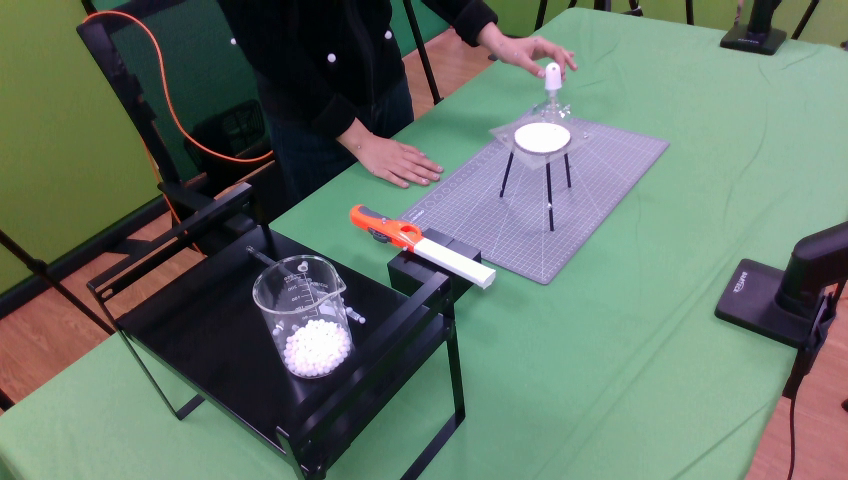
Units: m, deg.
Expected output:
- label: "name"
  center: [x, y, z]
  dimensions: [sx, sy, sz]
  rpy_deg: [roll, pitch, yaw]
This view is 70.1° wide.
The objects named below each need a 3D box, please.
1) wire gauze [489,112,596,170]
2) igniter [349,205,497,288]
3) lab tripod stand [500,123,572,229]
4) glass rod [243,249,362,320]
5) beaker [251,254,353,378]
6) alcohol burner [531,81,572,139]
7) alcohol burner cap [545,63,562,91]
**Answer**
- label: "wire gauze"
  center: [0.183, -0.161, 0.942]
  dimensions: [0.122, 0.011, 0.124]
  rpy_deg: [-24, 44, -18]
- label: "igniter"
  center: [-0.013, 0.004, 0.897]
  dimensions: [0.274, 0.025, 0.057]
  rpy_deg: [25, 44, 32]
- label: "lab tripod stand"
  center: [0.194, -0.110, 0.985]
  dimensions: [0.148, 0.132, 0.147]
  rpy_deg: [-3, 41, 3]
- label: "glass rod"
  center: [-0.141, 0.046, 0.674]
  dimensions: [0.198, 0.008, 0.008]
  rpy_deg: [24, 50, 32]
- label: "beaker"
  center: [-0.106, 0.074, 0.565]
  dimensions: [0.084, 0.101, 0.073]
  rpy_deg: [-1, 41, 8]
- label: "alcohol burner"
  center: [0.246, -0.256, 1.165]
  dimensions: [0.078, 0.119, 0.077]
  rpy_deg: [-6, 40, 6]
- label: "alcohol burner cap"
  center: [0.242, -0.307, 1.132]
  dimensions: [0.034, 0.048, 0.033]
  rpy_deg: [-6, 35, 5]
